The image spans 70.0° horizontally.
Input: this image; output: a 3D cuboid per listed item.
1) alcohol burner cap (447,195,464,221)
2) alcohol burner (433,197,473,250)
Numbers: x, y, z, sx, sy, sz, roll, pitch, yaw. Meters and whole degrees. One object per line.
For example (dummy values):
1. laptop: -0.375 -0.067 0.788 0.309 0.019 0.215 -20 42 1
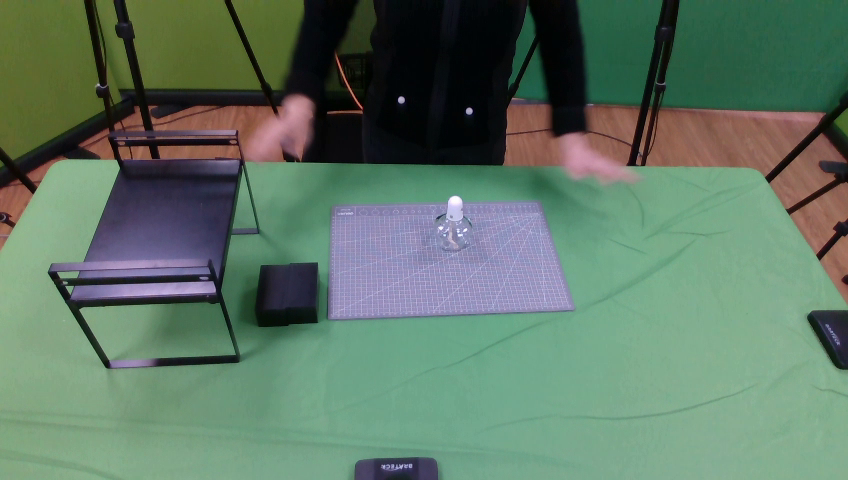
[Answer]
1. alcohol burner cap: 0.059 -0.063 1.143 0.034 0.048 0.033 -1 42 1
2. alcohol burner: 0.058 -0.038 1.169 0.078 0.119 0.077 3 45 -3
